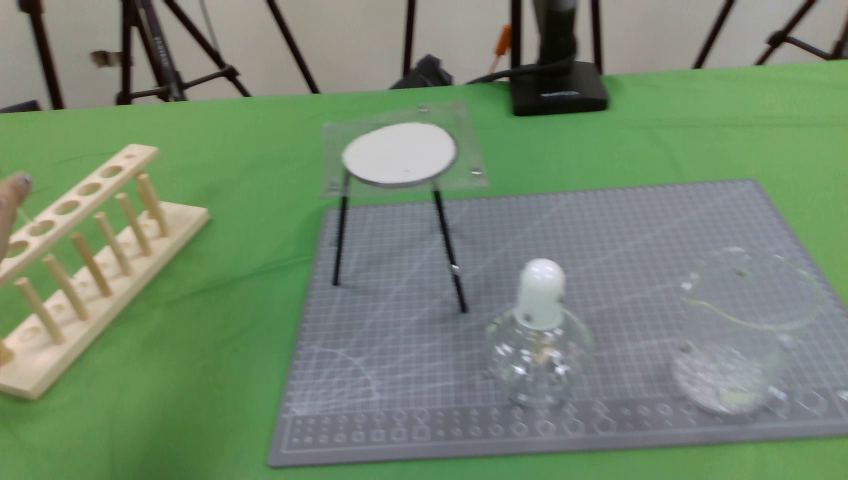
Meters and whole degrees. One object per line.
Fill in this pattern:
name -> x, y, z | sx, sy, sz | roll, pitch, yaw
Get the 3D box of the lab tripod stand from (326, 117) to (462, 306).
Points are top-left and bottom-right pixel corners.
lab tripod stand -> -0.022, -0.024, 0.516 | 0.148, 0.133, 0.147 | -4, 43, 4

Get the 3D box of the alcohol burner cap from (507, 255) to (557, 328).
alcohol burner cap -> 0.072, 0.032, 0.400 | 0.034, 0.048, 0.033 | -1, 38, 1

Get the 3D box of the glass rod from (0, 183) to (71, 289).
glass rod -> -0.333, -0.025, 0.490 | 0.008, 0.201, 0.008 | -1, 45, 1

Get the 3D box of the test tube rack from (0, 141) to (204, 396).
test tube rack -> -0.309, 0.012, 0.548 | 0.066, 0.086, 0.241 | 10, 43, 17

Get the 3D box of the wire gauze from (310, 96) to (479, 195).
wire gauze -> -0.028, -0.074, 0.471 | 0.125, 0.011, 0.120 | -8, 41, -1

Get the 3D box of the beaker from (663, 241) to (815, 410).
beaker -> 0.206, 0.062, 0.415 | 0.084, 0.101, 0.073 | -6, 40, 0

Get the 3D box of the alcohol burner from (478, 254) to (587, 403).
alcohol burner -> 0.076, 0.058, 0.424 | 0.078, 0.120, 0.077 | -4, 39, 3
